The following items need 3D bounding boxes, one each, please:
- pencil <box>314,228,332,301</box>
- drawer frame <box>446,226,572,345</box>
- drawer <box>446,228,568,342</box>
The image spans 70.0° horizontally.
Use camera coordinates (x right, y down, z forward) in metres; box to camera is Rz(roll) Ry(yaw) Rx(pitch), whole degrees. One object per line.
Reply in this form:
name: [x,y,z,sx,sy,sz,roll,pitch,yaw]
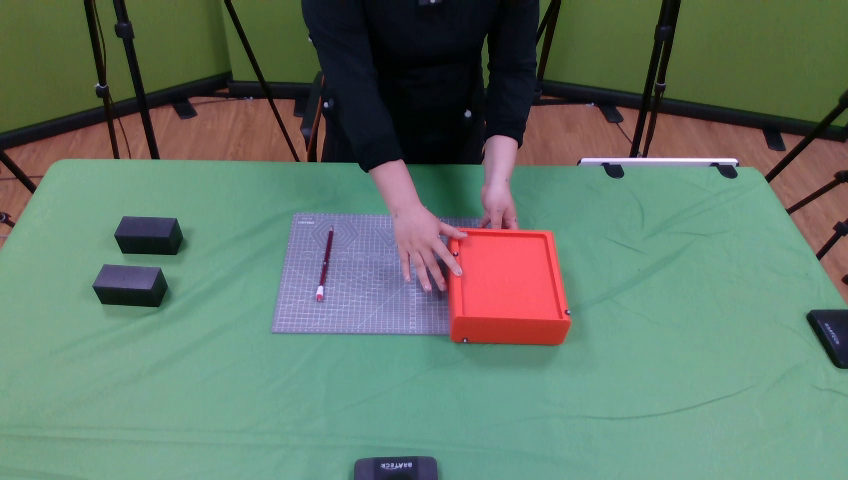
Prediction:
pencil: [-0.188,0.042,1.148,0.012,0.012,0.193,3,43,-1]
drawer frame: [0.144,0.078,1.087,0.202,0.083,0.212,2,47,-4]
drawer: [0.141,0.077,1.089,0.194,0.073,0.210,2,47,-3]
